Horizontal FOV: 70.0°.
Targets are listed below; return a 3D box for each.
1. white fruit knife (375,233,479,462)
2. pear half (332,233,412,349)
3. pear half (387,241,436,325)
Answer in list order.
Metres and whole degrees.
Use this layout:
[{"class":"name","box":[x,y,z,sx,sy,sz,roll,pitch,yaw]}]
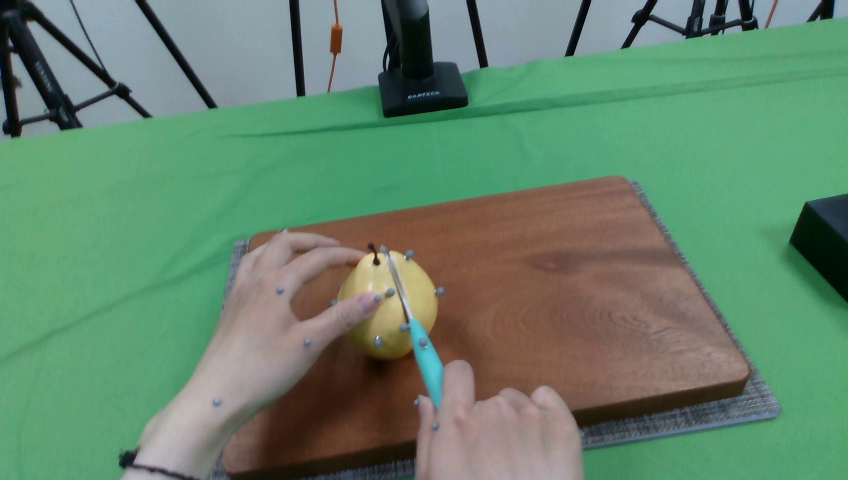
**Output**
[{"class":"white fruit knife","box":[-0.006,0.062,0.436,0.016,0.028,0.205,-18,46,-10]},{"class":"pear half","box":[-0.046,0.039,0.471,0.056,0.111,0.075,-20,40,-9]},{"class":"pear half","box":[-0.008,0.035,0.485,0.031,0.089,0.069,-17,38,-14]}]
